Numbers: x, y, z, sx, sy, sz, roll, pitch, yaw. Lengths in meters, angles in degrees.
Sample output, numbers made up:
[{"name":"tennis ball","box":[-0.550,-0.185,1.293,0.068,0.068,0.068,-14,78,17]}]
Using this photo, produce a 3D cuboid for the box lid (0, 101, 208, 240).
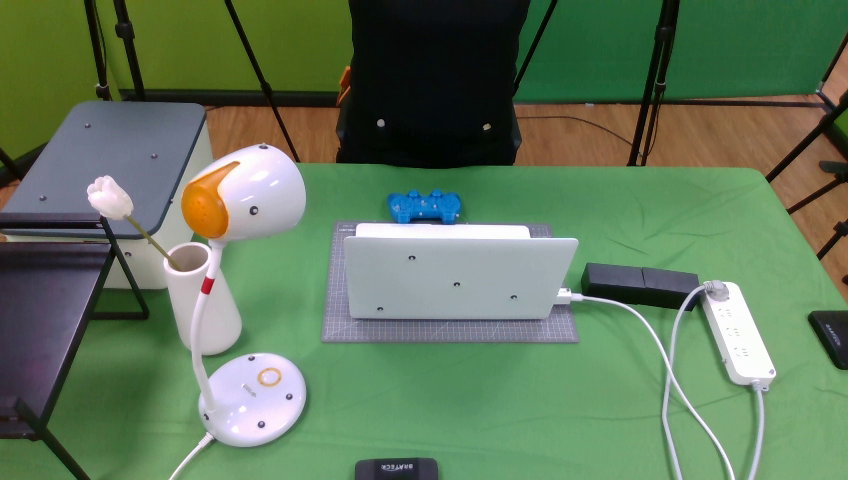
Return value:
[{"name":"box lid","box":[-0.559,-0.137,1.083,0.263,0.015,0.369,2,46,-2]}]

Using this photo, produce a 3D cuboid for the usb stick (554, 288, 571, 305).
[{"name":"usb stick","box":[0.236,0.103,1.101,0.059,0.027,0.021,-2,46,1]}]

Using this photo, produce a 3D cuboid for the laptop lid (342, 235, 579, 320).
[{"name":"laptop lid","box":[0.051,0.067,0.973,0.357,0.243,0.013,1,52,-5]}]

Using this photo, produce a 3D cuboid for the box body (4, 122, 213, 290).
[{"name":"box body","box":[-0.563,-0.086,1.138,0.254,0.161,0.361,2,46,-3]}]

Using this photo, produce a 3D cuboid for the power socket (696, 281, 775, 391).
[{"name":"power socket","box":[0.550,0.161,1.078,0.072,0.033,0.225,2,46,-1]}]

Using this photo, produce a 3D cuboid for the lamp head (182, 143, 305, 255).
[{"name":"lamp head","box":[-0.216,-0.044,0.697,0.112,0.113,0.123,23,31,17]}]

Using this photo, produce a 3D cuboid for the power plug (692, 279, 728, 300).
[{"name":"power plug","box":[0.522,0.091,1.115,0.072,0.053,0.035,10,47,8]}]

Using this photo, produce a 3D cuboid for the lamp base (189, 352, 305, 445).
[{"name":"lamp base","box":[-0.268,0.197,0.876,0.160,0.181,0.179,26,52,19]}]

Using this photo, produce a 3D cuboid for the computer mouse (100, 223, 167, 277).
[{"name":"computer mouse","box":[-0.539,0.015,1.122,0.062,0.041,0.117,30,57,18]}]

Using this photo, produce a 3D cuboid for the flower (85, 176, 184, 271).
[{"name":"flower","box":[-0.365,0.038,0.894,0.038,0.364,0.044,-6,53,14]}]

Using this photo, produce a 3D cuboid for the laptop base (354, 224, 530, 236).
[{"name":"laptop base","box":[0.041,0.056,1.149,0.355,0.023,0.234,1,43,-4]}]

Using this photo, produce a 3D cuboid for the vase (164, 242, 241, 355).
[{"name":"vase","box":[-0.349,0.096,0.954,0.098,0.201,0.097,3,47,-3]}]

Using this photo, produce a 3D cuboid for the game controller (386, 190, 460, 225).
[{"name":"game controller","box":[-0.001,-0.073,1.251,0.155,0.052,0.096,-2,47,-5]}]
